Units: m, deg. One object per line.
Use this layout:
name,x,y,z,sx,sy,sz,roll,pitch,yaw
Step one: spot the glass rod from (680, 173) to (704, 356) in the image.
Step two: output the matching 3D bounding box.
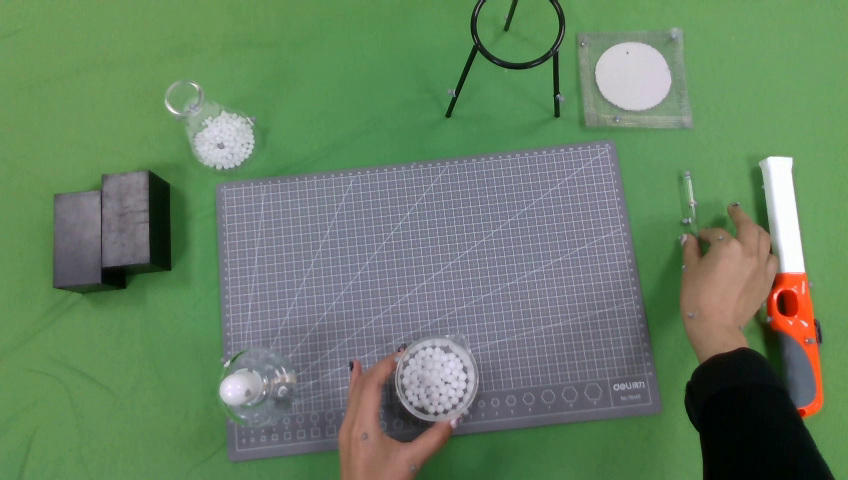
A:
glass rod,0.290,0.025,0.656,0.008,0.008,0.199,-3,82,0

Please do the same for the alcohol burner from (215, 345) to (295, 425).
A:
alcohol burner,-0.168,0.139,0.584,0.078,0.119,0.077,-1,78,3

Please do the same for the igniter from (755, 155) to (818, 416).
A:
igniter,0.382,0.044,0.641,0.057,0.025,0.275,1,79,-10

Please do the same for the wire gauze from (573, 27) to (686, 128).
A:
wire gauze,0.236,-0.188,0.696,0.125,0.011,0.121,0,80,-1

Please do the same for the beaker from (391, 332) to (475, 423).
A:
beaker,0.009,0.129,0.577,0.074,0.100,0.084,30,77,6

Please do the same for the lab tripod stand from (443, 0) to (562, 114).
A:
lab tripod stand,0.084,-0.191,0.635,0.148,0.132,0.148,0,81,1

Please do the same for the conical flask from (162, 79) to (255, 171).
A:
conical flask,-0.229,-0.124,0.632,0.075,0.122,0.075,0,79,2

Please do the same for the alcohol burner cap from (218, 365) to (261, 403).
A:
alcohol burner cap,-0.169,0.132,0.549,0.034,0.048,0.034,0,83,-3
